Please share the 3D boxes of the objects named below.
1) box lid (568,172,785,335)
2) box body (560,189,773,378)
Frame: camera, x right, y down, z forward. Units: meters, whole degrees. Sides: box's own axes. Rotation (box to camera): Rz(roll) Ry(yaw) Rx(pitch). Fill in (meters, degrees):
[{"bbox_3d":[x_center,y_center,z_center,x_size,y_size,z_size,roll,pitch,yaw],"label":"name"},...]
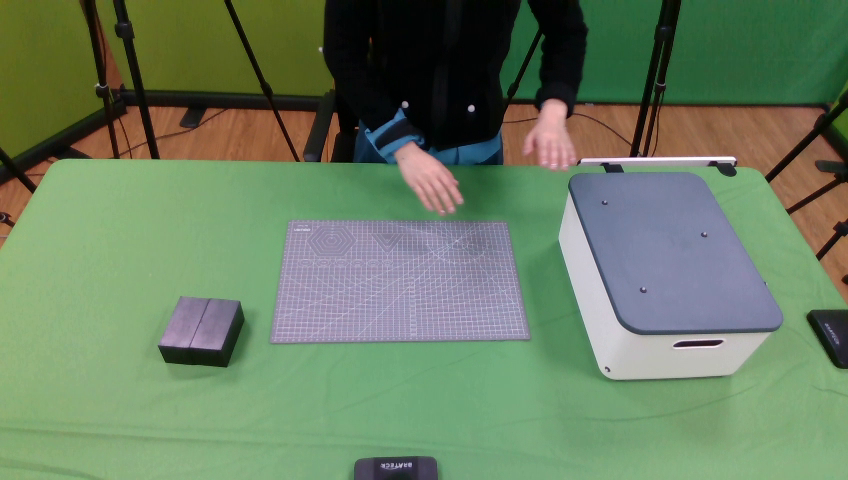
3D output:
[{"bbox_3d":[0.407,0.007,1.019,0.263,0.015,0.369,-1,46,-5],"label":"box lid"},{"bbox_3d":[0.405,0.057,1.074,0.254,0.161,0.361,-2,46,-5],"label":"box body"}]
